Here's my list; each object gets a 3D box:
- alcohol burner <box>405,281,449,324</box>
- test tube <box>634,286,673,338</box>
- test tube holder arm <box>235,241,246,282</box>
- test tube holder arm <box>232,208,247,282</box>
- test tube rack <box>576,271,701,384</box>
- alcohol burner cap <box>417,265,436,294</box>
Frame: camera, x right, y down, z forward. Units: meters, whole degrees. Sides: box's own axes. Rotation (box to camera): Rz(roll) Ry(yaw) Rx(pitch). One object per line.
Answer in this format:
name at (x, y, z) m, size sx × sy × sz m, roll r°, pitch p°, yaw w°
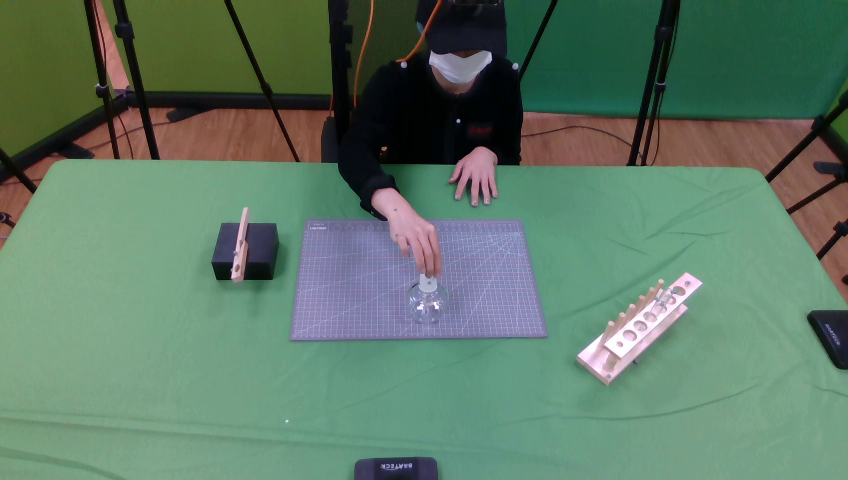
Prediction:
alcohol burner at (0.005, 0.089, 1.043) m, size 0.078 × 0.120 × 0.077 m, roll 1°, pitch 45°, yaw -1°
test tube at (0.374, 0.123, 0.994) m, size 0.017 × 0.151 × 0.017 m, roll 2°, pitch 52°, yaw -2°
test tube holder arm at (-0.323, 0.037, 1.071) m, size 0.010 × 0.015 × 0.087 m, roll -9°, pitch 46°, yaw -2°
test tube holder arm at (-0.335, 0.006, 1.102) m, size 0.013 × 0.015 × 0.177 m, roll -9°, pitch 46°, yaw -2°
test tube rack at (0.373, 0.138, 1.048) m, size 0.242 × 0.085 × 0.066 m, roll -31°, pitch 56°, yaw -29°
alcohol burner cap at (0.005, 0.063, 1.017) m, size 0.034 × 0.048 × 0.033 m, roll 1°, pitch 42°, yaw -1°
